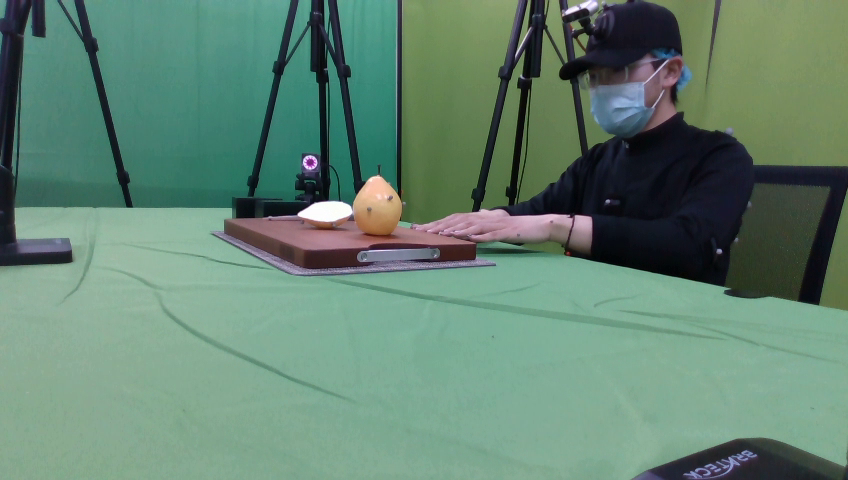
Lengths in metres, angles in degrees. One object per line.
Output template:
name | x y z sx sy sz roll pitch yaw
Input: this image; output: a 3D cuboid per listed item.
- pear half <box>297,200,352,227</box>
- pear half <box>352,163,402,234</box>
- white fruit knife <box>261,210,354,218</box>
pear half | -0.163 -0.038 0.996 0.088 0.031 0.070 -13 26 -15
pear half | -0.065 -0.063 0.921 0.077 0.110 0.055 -8 12 -39
white fruit knife | -0.199 -0.047 1.122 0.208 0.016 0.027 -3 -6 -30
